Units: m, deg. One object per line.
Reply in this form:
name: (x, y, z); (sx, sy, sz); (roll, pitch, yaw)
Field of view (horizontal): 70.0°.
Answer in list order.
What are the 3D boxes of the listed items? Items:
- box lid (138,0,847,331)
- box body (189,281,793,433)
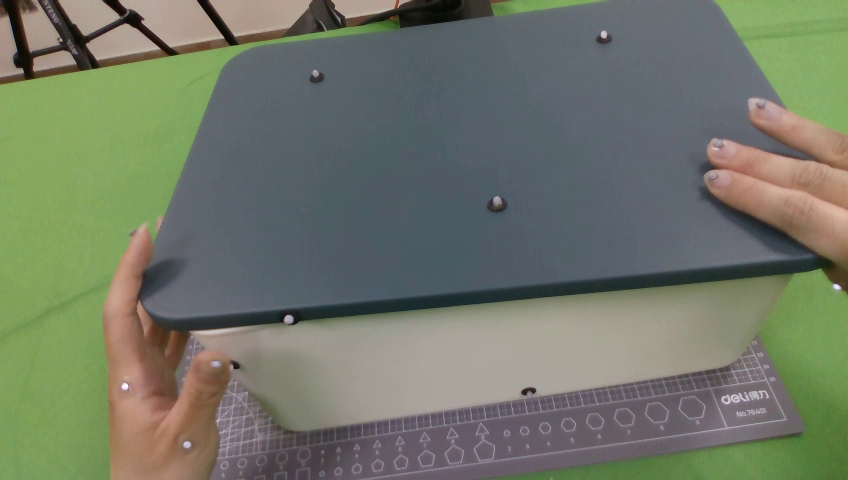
box lid: (0.025, -0.065, 0.383); (0.371, 0.015, 0.260); (-5, 47, 6)
box body: (0.042, -0.017, 0.454); (0.364, 0.162, 0.251); (-9, 48, 2)
